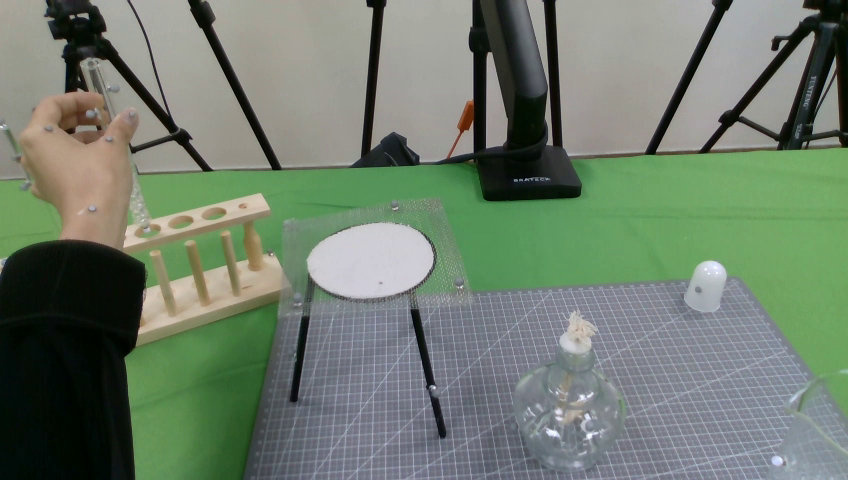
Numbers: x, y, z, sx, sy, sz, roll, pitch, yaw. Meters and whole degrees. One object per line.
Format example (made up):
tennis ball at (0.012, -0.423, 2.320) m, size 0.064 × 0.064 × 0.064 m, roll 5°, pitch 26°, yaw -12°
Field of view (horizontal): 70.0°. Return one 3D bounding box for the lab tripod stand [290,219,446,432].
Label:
lab tripod stand at (-0.037, 0.063, 0.459) m, size 0.148 × 0.132 × 0.147 m, roll -2°, pitch 37°, yaw 2°

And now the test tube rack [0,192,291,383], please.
test tube rack at (-0.254, 0.037, 0.551) m, size 0.243 × 0.086 × 0.066 m, roll -17°, pitch 38°, yaw -21°

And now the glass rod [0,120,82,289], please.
glass rod at (-0.305, -0.008, 0.501) m, size 0.008 × 0.201 × 0.008 m, roll 0°, pitch 40°, yaw 1°

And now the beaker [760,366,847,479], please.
beaker at (0.253, 0.138, 0.372) m, size 0.083 × 0.101 × 0.073 m, roll 10°, pitch 37°, yaw 17°

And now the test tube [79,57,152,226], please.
test tube at (-0.246, -0.073, 0.488) m, size 0.017 × 0.151 × 0.017 m, roll 1°, pitch 38°, yaw -1°

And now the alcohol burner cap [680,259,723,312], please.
alcohol burner cap at (0.258, 0.039, 0.561) m, size 0.034 × 0.048 × 0.033 m, roll -1°, pitch 35°, yaw 1°

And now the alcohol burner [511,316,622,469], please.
alcohol burner at (0.100, 0.101, 0.418) m, size 0.078 × 0.120 × 0.077 m, roll -1°, pitch 34°, yaw 1°

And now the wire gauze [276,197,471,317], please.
wire gauze at (-0.040, 0.009, 0.419) m, size 0.125 × 0.011 × 0.120 m, roll -7°, pitch 36°, yaw -6°
